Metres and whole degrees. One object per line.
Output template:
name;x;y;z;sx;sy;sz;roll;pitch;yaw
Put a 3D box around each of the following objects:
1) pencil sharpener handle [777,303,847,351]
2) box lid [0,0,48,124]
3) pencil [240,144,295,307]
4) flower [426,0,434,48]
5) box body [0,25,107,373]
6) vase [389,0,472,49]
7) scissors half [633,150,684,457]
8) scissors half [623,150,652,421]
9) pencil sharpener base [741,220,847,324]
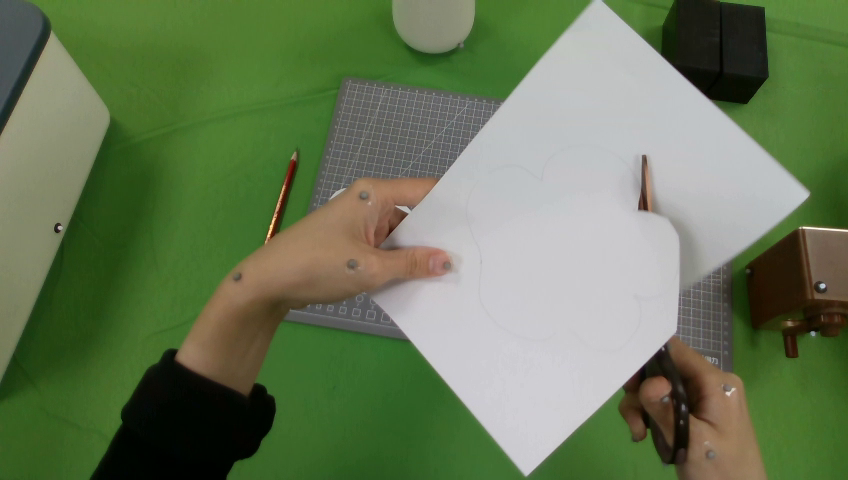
pencil sharpener handle;0.347;0.079;0.542;0.036;0.068;0.030;10;68;-13
box lid;-0.500;-0.074;0.503;0.263;0.015;0.369;9;69;3
pencil;-0.164;-0.021;0.647;0.012;0.012;0.193;10;67;4
flower;0.001;-0.346;0.582;0.044;0.365;0.038;2;51;5
box body;-0.499;-0.044;0.572;0.254;0.161;0.361;9;69;4
vase;0.006;-0.303;0.654;0.098;0.201;0.097;0;67;1
scissors half;0.129;0.036;0.342;0.013;0.040;0.175;-6;88;-1
scissors half;0.130;0.032;0.363;0.013;0.176;0.039;-5;24;4
pencil sharpener base;0.355;0.037;0.572;0.061;0.108;0.076;4;69;2
